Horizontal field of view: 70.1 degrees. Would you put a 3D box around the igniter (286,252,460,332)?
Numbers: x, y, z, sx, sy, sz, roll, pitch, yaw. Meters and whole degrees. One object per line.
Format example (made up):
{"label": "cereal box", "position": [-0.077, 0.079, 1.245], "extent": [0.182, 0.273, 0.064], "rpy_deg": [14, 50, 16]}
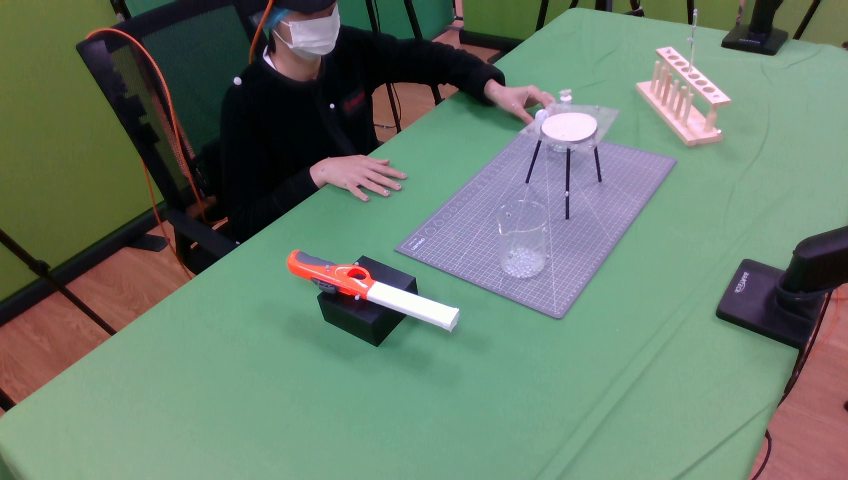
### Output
{"label": "igniter", "position": [-0.080, 0.067, 0.832], "extent": [0.275, 0.025, 0.057], "rpy_deg": [17, 46, 22]}

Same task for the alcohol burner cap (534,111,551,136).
{"label": "alcohol burner cap", "position": [0.235, -0.233, 1.196], "extent": [0.034, 0.048, 0.033], "rpy_deg": [-4, 46, 5]}

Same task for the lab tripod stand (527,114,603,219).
{"label": "lab tripod stand", "position": [0.234, -0.129, 1.002], "extent": [0.148, 0.132, 0.147], "rpy_deg": [-6, 40, 6]}

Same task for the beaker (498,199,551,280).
{"label": "beaker", "position": [0.144, 0.003, 0.884], "extent": [0.073, 0.101, 0.084], "rpy_deg": [28, 52, 36]}

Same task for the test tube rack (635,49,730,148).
{"label": "test tube rack", "position": [0.497, -0.283, 1.185], "extent": [0.067, 0.085, 0.240], "rpy_deg": [-10, 40, -2]}

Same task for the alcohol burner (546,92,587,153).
{"label": "alcohol burner", "position": [0.263, -0.222, 1.124], "extent": [0.078, 0.119, 0.077], "rpy_deg": [-5, 42, 5]}

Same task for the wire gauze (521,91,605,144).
{"label": "wire gauze", "position": [0.219, -0.191, 0.948], "extent": [0.121, 0.011, 0.125], "rpy_deg": [8, 49, 13]}

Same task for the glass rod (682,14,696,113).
{"label": "glass rod", "position": [0.495, -0.326, 1.132], "extent": [0.008, 0.201, 0.008], "rpy_deg": [-8, 42, 8]}
